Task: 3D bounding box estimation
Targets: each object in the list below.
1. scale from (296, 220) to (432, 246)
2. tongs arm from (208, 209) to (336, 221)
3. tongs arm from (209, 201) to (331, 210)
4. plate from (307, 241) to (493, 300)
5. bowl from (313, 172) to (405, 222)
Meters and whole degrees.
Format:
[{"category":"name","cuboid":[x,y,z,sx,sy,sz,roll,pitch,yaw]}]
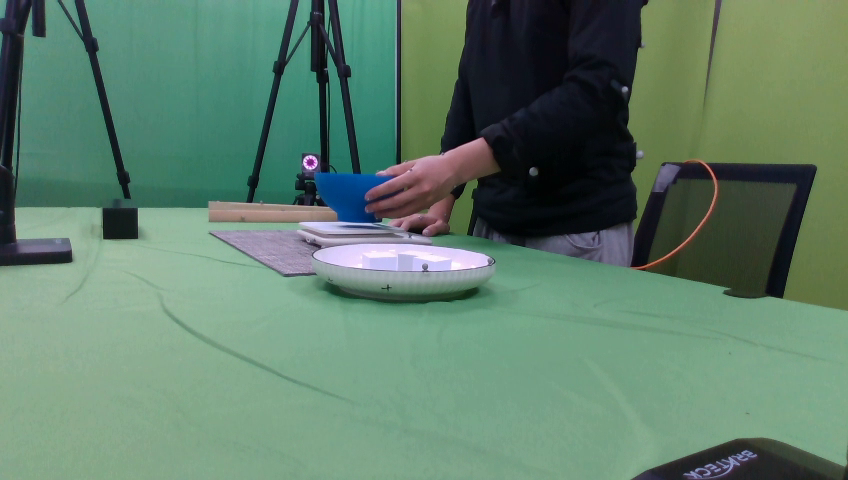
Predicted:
[{"category":"scale","cuboid":[-0.101,-0.012,1.017,0.202,0.031,0.148,-1,8,-30]},{"category":"tongs arm","cuboid":[-0.280,-0.057,1.355,0.390,0.028,0.028,-1,5,-28]},{"category":"tongs arm","cuboid":[-0.306,-0.071,1.430,0.386,0.026,0.050,1,8,-15]},{"category":"plate","cuboid":[-0.027,0.034,0.684,0.208,0.039,0.207,2,7,0]},{"category":"bowl","cuboid":[-0.106,-0.070,0.985,0.151,0.077,0.151,2,7,0]}]
